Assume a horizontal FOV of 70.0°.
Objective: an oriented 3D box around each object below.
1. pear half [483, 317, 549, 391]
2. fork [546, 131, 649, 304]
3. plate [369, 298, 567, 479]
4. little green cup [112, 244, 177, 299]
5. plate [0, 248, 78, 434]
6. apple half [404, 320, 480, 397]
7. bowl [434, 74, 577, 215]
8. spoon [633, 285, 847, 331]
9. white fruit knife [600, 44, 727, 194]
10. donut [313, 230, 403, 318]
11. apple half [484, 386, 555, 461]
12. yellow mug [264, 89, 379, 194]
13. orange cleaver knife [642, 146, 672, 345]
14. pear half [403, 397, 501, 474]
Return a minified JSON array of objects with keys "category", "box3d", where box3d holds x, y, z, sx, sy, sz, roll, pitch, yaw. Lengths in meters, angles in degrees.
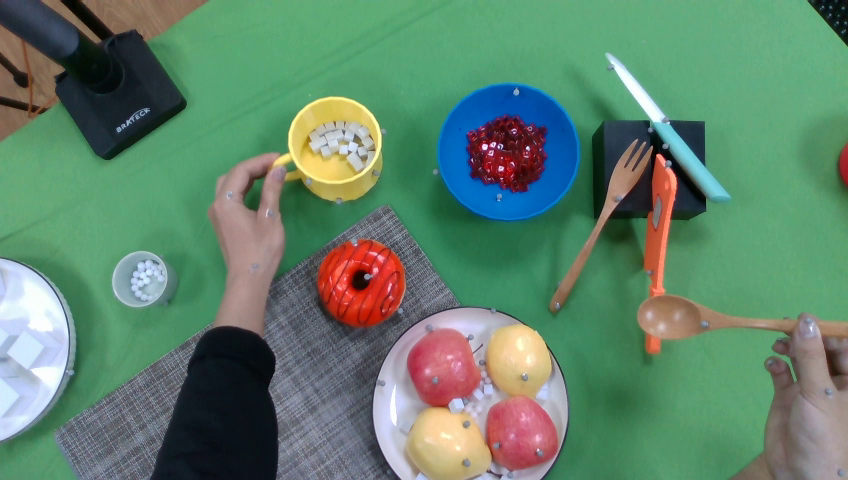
[{"category":"pear half","box3d":[0.094,0.126,0.640,0.070,0.031,0.088,-6,92,24]},{"category":"fork","box3d":[0.181,-0.019,0.652,0.028,0.018,0.208,23,104,-4]},{"category":"plate","box3d":[0.047,0.166,0.650,0.209,0.038,0.208,0,82,1]},{"category":"little green cup","box3d":[-0.310,0.037,0.678,0.061,0.039,0.061,0,82,2]},{"category":"plate","box3d":[-0.483,0.112,0.671,0.208,0.039,0.207,0,82,1]},{"category":"apple half","box3d":[0.018,0.127,0.638,0.074,0.053,0.080,-18,85,-1]},{"category":"bowl","box3d":[0.085,-0.096,0.669,0.151,0.077,0.151,0,83,1]},{"category":"spoon","box3d":[0.277,0.063,0.512,0.192,0.022,0.041,1,82,35]},{"category":"white fruit knife","box3d":[0.253,-0.131,0.652,0.027,0.016,0.206,-29,80,-32]},{"category":"donut","box3d":[-0.072,0.037,0.667,0.099,0.048,0.099,0,84,4]},{"category":"apple half","box3d":[0.092,0.194,0.628,0.081,0.033,0.081,1,93,22]},{"category":"yellow mug","box3d":[-0.115,-0.102,0.672,0.131,0.064,0.099,-22,80,-8]},{"category":"orange cleaver knife","box3d":[0.245,0.008,0.649,0.012,0.077,0.212,1,108,6]},{"category":"pear half","box3d":[0.035,0.213,0.630,0.110,0.056,0.076,28,88,0]}]
